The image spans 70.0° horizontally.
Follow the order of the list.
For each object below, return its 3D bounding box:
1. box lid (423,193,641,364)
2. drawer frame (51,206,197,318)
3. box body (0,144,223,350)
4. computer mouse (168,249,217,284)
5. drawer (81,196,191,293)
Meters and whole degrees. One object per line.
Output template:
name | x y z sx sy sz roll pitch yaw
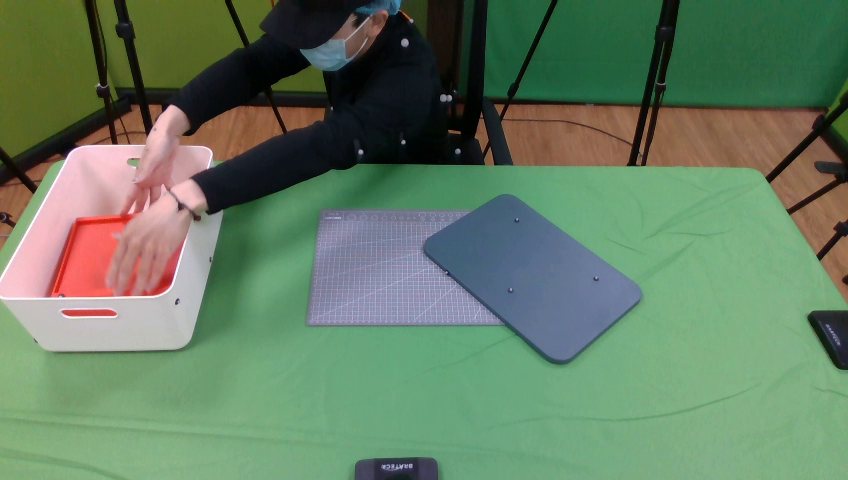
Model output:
box lid | 0.202 0.054 1.168 0.263 0.015 0.369 -31 56 -30
drawer frame | -0.506 0.041 1.068 0.214 0.083 0.200 -6 47 -8
box body | -0.510 0.008 1.054 0.254 0.161 0.361 -1 46 -5
computer mouse | -0.416 0.034 1.060 0.063 0.041 0.116 -34 51 -27
drawer | -0.512 0.036 1.062 0.212 0.074 0.193 -15 52 3
